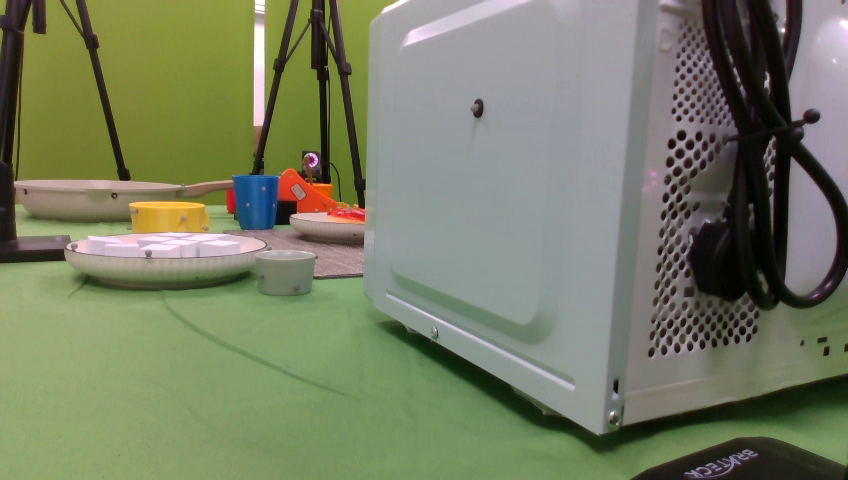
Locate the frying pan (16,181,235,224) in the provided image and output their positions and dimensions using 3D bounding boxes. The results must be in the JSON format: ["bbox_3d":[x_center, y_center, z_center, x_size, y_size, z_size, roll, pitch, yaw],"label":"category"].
[{"bbox_3d":[-0.554,-0.097,1.266,0.490,0.102,0.305,-10,13,-24],"label":"frying pan"}]

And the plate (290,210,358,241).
[{"bbox_3d":[-0.127,-0.025,1.051,0.209,0.038,0.209,2,7,0],"label":"plate"}]

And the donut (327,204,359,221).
[{"bbox_3d":[-0.120,-0.037,1.056,0.099,0.048,0.099,5,7,0],"label":"donut"}]

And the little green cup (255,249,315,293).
[{"bbox_3d":[-0.144,0.031,0.627,0.061,0.038,0.061,2,6,0],"label":"little green cup"}]

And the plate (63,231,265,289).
[{"bbox_3d":[-0.288,0.021,0.687,0.208,0.039,0.207,2,8,0],"label":"plate"}]

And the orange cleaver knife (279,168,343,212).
[{"bbox_3d":[-0.236,-0.084,1.333,0.212,0.077,0.012,31,-9,-31],"label":"orange cleaver knife"}]

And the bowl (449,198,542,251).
[{"bbox_3d":[0.115,-0.026,0.987,0.151,0.077,0.151,1,8,0],"label":"bowl"}]

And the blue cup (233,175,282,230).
[{"bbox_3d":[-0.314,-0.071,1.141,0.093,0.100,0.092,0,7,0],"label":"blue cup"}]

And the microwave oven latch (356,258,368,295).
[{"bbox_3d":[-0.019,0.031,0.529,0.079,0.029,0.030,-1,7,-26],"label":"microwave oven latch"}]

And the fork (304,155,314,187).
[{"bbox_3d":[-0.268,-0.134,1.446,0.028,0.018,0.207,1,-36,-1],"label":"fork"}]

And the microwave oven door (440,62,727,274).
[{"bbox_3d":[0.186,-0.097,0.782,0.354,0.243,0.039,6,8,29],"label":"microwave oven door"}]

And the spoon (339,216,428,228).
[{"bbox_3d":[-0.087,-0.041,1.268,0.193,0.021,0.041,4,25,13],"label":"spoon"}]

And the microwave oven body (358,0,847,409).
[{"bbox_3d":[0.210,-0.051,0.472,0.444,0.260,0.324,-1,7,-28],"label":"microwave oven body"}]

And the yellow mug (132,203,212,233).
[{"bbox_3d":[-0.356,-0.020,0.878,0.099,0.064,0.131,5,7,22],"label":"yellow mug"}]
